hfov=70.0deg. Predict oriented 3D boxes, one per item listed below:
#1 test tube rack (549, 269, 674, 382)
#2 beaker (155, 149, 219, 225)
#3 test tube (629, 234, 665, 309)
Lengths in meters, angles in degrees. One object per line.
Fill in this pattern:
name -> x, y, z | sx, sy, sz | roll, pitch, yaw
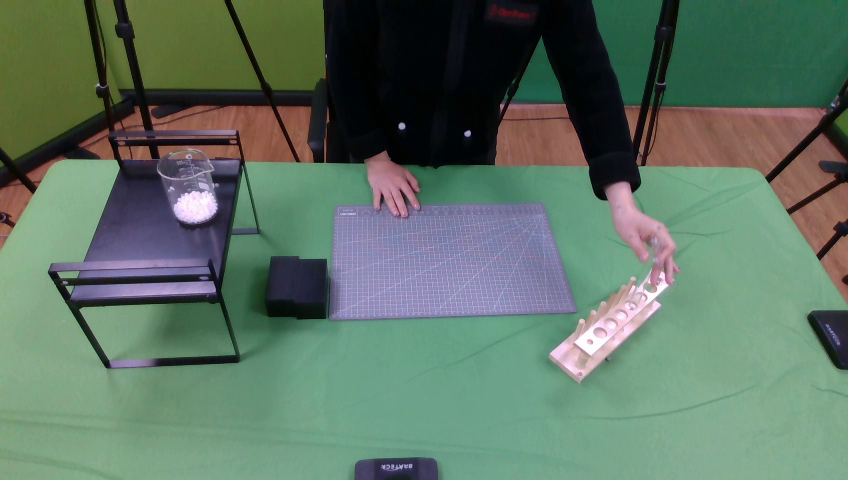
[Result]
test tube rack -> 0.325, 0.134, 1.047 | 0.242, 0.085, 0.066 | -32, 55, -29
beaker -> -0.362, -0.080, 0.945 | 0.084, 0.101, 0.073 | 4, 46, -1
test tube -> 0.355, 0.054, 0.972 | 0.017, 0.151, 0.017 | 4, 37, -3
